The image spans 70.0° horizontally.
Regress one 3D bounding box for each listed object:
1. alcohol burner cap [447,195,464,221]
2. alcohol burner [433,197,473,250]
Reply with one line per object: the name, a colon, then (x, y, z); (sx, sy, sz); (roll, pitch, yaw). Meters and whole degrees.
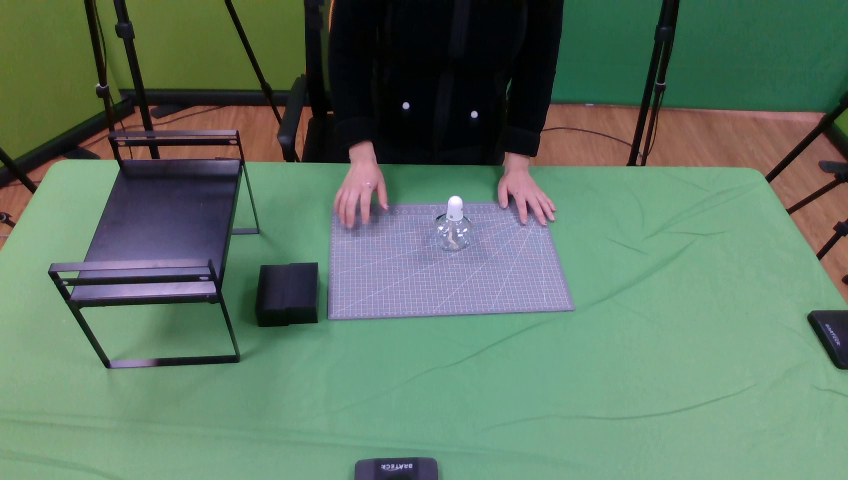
alcohol burner cap: (0.060, -0.063, 1.143); (0.034, 0.048, 0.033); (-1, 42, 1)
alcohol burner: (0.058, -0.038, 1.169); (0.078, 0.119, 0.077); (3, 45, -3)
